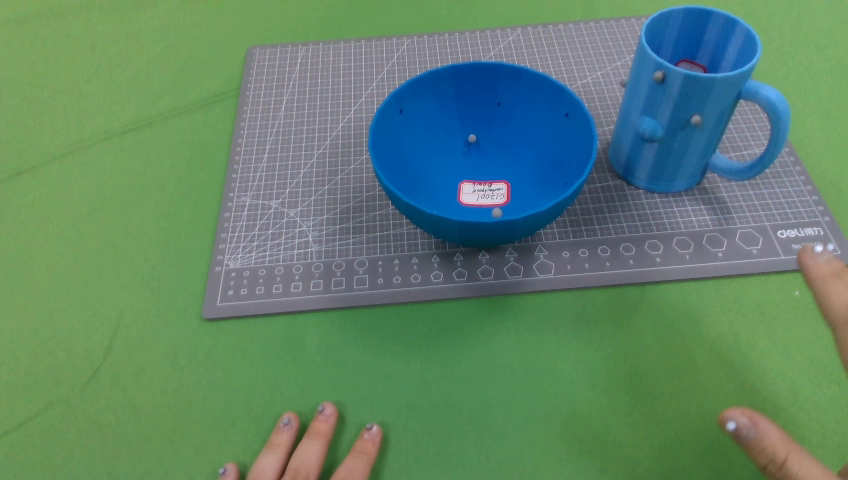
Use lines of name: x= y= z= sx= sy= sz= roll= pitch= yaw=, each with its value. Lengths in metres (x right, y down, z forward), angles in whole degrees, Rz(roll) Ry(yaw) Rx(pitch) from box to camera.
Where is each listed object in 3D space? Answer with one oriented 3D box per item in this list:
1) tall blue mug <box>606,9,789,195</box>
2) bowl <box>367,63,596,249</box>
tall blue mug: x=0.195 y=-0.093 z=0.433 sx=0.107 sy=0.109 sz=0.077 roll=11 pitch=54 yaw=11
bowl: x=0.038 y=-0.046 z=0.426 sx=0.151 sy=0.077 sz=0.150 roll=-1 pitch=54 yaw=2
